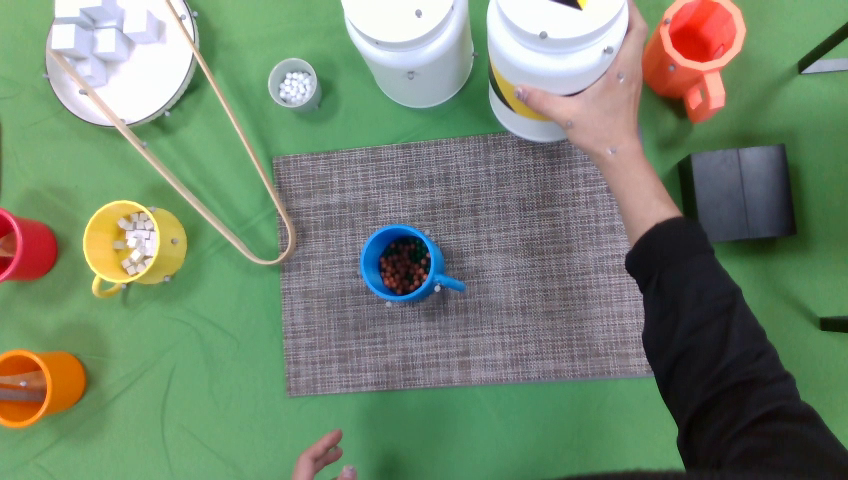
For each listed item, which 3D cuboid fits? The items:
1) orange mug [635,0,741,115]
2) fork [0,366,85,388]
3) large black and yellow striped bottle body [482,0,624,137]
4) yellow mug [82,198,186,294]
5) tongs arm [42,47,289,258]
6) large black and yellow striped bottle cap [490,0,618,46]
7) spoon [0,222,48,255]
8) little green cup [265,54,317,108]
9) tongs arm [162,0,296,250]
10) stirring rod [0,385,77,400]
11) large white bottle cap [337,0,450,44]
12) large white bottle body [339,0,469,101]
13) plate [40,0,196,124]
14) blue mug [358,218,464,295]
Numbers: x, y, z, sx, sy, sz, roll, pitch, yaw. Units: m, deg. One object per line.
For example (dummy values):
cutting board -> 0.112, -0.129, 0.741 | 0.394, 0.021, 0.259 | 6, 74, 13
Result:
orange mug -> 0.296, -0.207, 0.677 | 0.083, 0.101, 0.125 | -15, 80, 6
fork -> -0.522, 0.162, 0.720 | 0.209, 0.018, 0.028 | 11, 85, -36
large black and yellow striped bottle body -> 0.125, -0.199, 0.608 | 0.130, 0.185, 0.130 | -2, 74, 7
yellow mug -> -0.368, 0.013, 0.755 | 0.099, 0.064, 0.131 | 34, 92, 7
tongs arm -> -0.319, -0.111, 0.751 | 0.051, 0.026, 0.384 | -43, 90, -2
large black and yellow striped bottle cap -> 0.114, -0.224, 0.529 | 0.115, 0.019, 0.114 | -1, 75, 5
spoon -> -0.566, 0.021, 0.738 | 0.194, 0.021, 0.041 | -24, 80, -40
little green cup -> -0.164, -0.196, 0.758 | 0.061, 0.039, 0.061 | 0, 87, 6
tongs arm -> -0.253, -0.164, 0.751 | 0.028, 0.028, 0.387 | -29, 90, -5
stirring rod -> -0.512, 0.180, 0.721 | 0.006, 0.177, 0.014 | -19, 64, 48
large white bottle cap -> -0.030, -0.249, 0.587 | 0.114, 0.018, 0.114 | 0, 87, 7
large white bottle body -> -0.019, -0.243, 0.671 | 0.130, 0.185, 0.130 | 0, 86, 7
plate -> -0.392, -0.251, 0.788 | 0.207, 0.039, 0.207 | 0, 87, 7
blue mug -> -0.008, 0.027, 0.689 | 0.116, 0.106, 0.082 | 21, 88, 8
